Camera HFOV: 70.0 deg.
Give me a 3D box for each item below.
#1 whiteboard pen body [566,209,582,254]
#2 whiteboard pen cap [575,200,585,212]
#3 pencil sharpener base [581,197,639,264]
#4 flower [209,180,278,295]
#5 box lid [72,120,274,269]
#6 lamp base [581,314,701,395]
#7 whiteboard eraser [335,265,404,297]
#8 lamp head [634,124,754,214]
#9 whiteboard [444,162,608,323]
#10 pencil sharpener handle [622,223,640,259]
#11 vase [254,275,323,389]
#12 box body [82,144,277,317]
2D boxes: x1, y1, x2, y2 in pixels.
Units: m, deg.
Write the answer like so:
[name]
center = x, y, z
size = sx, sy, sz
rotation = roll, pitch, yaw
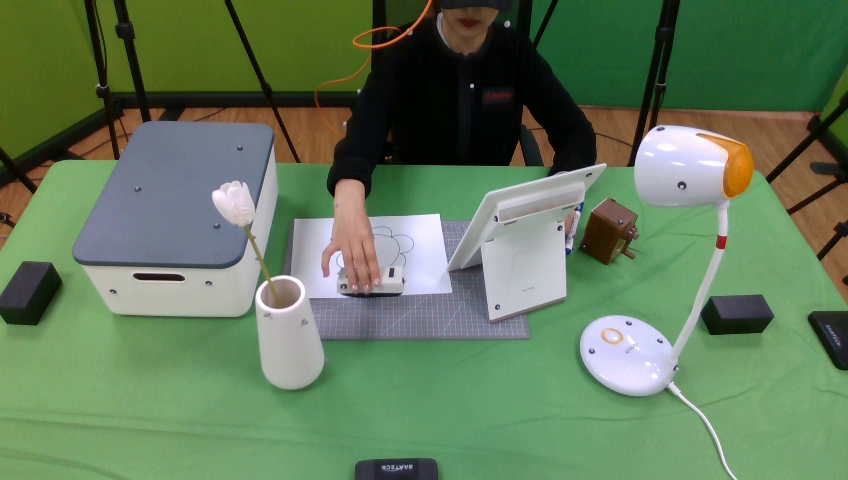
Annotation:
[whiteboard pen body]
center = 0.308, -0.025, 1.241
size = 0.017, 0.017, 0.140
rotation = 17, 50, 12
[whiteboard pen cap]
center = 0.327, -0.069, 1.278
size = 0.018, 0.018, 0.033
rotation = 18, 52, 13
[pencil sharpener base]
center = 0.362, -0.017, 1.179
size = 0.076, 0.107, 0.061
rotation = 37, 54, 27
[flower]
center = -0.216, 0.075, 0.871
size = 0.044, 0.363, 0.038
rotation = -29, 36, -19
[box lid]
center = -0.417, -0.094, 1.056
size = 0.263, 0.015, 0.369
rotation = 1, 47, -3
[lamp base]
center = 0.361, 0.144, 0.973
size = 0.178, 0.181, 0.160
rotation = 34, 53, 23
[whiteboard eraser]
center = -0.091, 0.070, 1.027
size = 0.113, 0.042, 0.055
rotation = 0, 33, 1
[lamp head]
center = 0.351, -0.089, 0.776
size = 0.112, 0.113, 0.122
rotation = -30, 30, -28
[whiteboard]
center = 0.186, 0.025, 1.029
size = 0.217, 0.306, 0.143
rotation = -14, 68, -17
[pencil sharpener handle]
center = 0.397, 0.003, 1.146
size = 0.030, 0.068, 0.036
rotation = 37, 46, 27
[vase]
center = -0.209, 0.143, 0.921
size = 0.098, 0.201, 0.097
rotation = 1, 46, -1
[box body]
center = -0.422, -0.041, 1.108
size = 0.254, 0.161, 0.361
rotation = 2, 46, -3
